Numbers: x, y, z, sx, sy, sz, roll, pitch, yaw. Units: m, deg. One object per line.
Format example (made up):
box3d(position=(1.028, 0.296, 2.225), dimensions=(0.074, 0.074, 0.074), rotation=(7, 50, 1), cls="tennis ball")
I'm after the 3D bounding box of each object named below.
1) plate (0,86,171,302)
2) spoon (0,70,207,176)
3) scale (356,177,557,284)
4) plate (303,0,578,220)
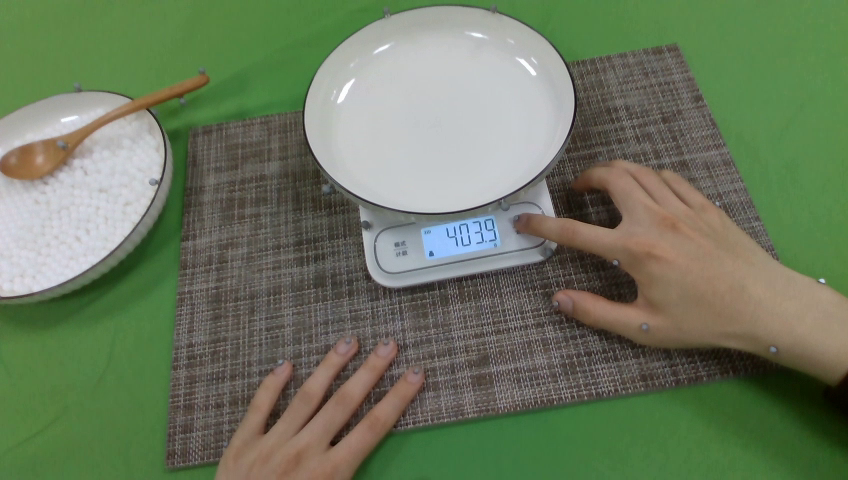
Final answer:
box3d(position=(-0.313, -0.040, 0.514), dimensions=(0.209, 0.038, 0.207), rotation=(-2, 62, 5), cls="plate")
box3d(position=(-0.278, -0.104, 0.526), dimensions=(0.194, 0.022, 0.041), rotation=(-26, 62, 0), cls="spoon")
box3d(position=(0.015, -0.067, 0.491), dimensions=(0.149, 0.032, 0.199), rotation=(-10, 62, 1), cls="scale")
box3d(position=(0.012, -0.101, 0.472), dimensions=(0.207, 0.039, 0.206), rotation=(-2, 62, 5), cls="plate")
